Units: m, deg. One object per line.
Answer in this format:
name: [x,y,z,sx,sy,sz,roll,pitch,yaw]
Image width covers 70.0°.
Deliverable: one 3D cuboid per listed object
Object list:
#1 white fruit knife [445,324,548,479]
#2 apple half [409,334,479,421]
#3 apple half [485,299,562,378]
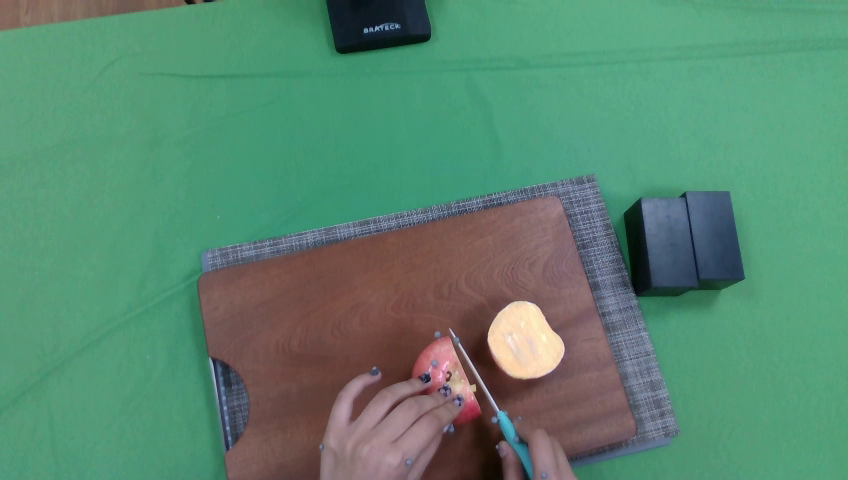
white fruit knife: [0.072,0.169,0.578,0.016,0.027,0.206,-29,75,-11]
apple half: [0.014,0.136,0.577,0.053,0.075,0.080,-24,81,-2]
apple half: [0.094,0.103,0.609,0.081,0.033,0.080,5,68,-11]
